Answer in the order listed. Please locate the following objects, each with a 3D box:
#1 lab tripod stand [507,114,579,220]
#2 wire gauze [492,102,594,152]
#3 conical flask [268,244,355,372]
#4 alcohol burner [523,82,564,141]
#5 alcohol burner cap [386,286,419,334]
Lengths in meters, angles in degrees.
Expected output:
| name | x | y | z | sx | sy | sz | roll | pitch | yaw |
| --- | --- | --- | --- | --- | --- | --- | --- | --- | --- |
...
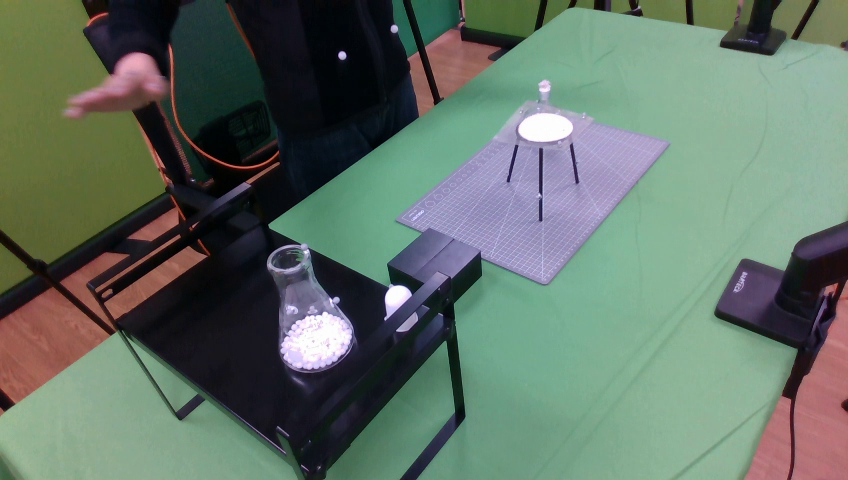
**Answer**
| name | x | y | z | sx | sy | sz | roll | pitch | yaw |
| --- | --- | --- | --- | --- | --- | --- | --- | --- | --- |
| lab tripod stand | 0.199 | -0.128 | 1.005 | 0.148 | 0.132 | 0.147 | -3 | 42 | 3 |
| wire gauze | 0.191 | -0.180 | 0.964 | 0.120 | 0.011 | 0.125 | 19 | 48 | 28 |
| conical flask | -0.111 | 0.060 | 0.564 | 0.075 | 0.122 | 0.075 | -5 | 41 | 4 |
| alcohol burner | 0.230 | -0.250 | 1.161 | 0.078 | 0.119 | 0.077 | -4 | 43 | 4 |
| alcohol burner cap | -0.024 | 0.067 | 0.604 | 0.034 | 0.048 | 0.033 | -5 | 39 | 4 |
